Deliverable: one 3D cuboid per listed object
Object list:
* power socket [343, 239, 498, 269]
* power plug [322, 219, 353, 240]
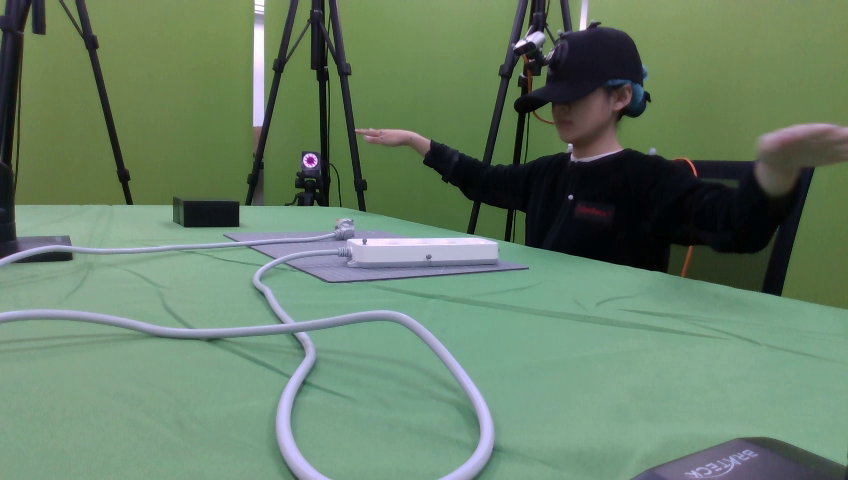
[{"bbox_3d":[-0.002,0.018,0.829,0.228,0.032,0.072,0,7,-24],"label":"power socket"},{"bbox_3d":[-0.153,-0.023,1.042,0.052,0.035,0.073,31,12,39],"label":"power plug"}]
